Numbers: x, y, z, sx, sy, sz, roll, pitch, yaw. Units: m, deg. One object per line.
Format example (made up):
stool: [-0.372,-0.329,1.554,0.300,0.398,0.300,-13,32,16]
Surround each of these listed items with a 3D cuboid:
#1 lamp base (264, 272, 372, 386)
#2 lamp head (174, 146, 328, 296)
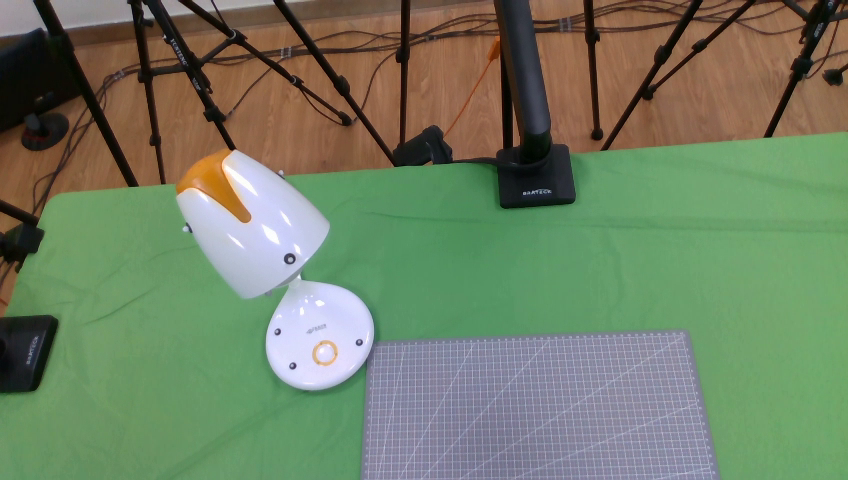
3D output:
lamp base: [-0.172,0.089,0.827,0.160,0.182,0.177,-30,58,-9]
lamp head: [-0.169,-0.027,0.567,0.112,0.124,0.111,-33,20,15]
